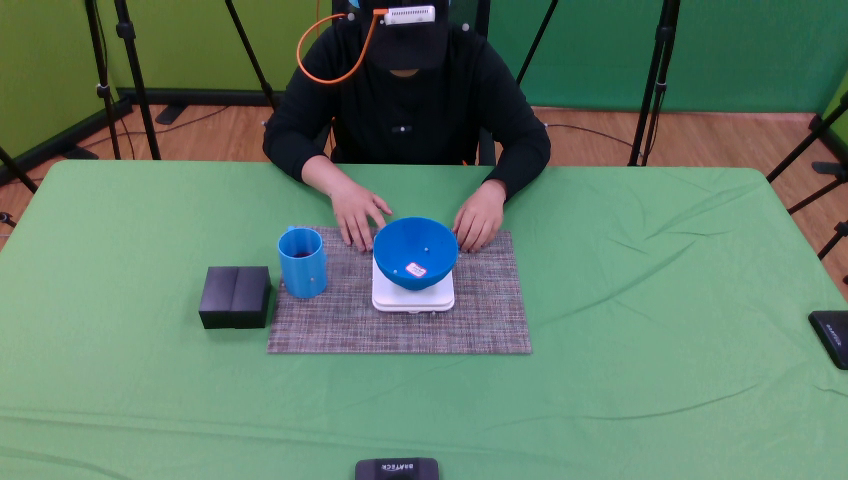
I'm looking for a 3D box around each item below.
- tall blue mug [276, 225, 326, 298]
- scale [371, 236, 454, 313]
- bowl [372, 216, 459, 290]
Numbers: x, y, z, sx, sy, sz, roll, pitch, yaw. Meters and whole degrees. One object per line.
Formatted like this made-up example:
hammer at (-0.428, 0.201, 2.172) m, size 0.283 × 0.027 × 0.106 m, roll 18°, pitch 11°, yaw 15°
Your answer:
tall blue mug at (-0.228, 0.033, 1.083) m, size 0.107 × 0.108 × 0.077 m, roll 30°, pitch 53°, yaw 23°
scale at (-0.022, 0.051, 1.134) m, size 0.149 × 0.032 × 0.199 m, roll 1°, pitch 46°, yaw -4°
bowl at (-0.016, 0.036, 1.075) m, size 0.151 × 0.077 × 0.150 m, roll 2°, pitch 46°, yaw -1°
